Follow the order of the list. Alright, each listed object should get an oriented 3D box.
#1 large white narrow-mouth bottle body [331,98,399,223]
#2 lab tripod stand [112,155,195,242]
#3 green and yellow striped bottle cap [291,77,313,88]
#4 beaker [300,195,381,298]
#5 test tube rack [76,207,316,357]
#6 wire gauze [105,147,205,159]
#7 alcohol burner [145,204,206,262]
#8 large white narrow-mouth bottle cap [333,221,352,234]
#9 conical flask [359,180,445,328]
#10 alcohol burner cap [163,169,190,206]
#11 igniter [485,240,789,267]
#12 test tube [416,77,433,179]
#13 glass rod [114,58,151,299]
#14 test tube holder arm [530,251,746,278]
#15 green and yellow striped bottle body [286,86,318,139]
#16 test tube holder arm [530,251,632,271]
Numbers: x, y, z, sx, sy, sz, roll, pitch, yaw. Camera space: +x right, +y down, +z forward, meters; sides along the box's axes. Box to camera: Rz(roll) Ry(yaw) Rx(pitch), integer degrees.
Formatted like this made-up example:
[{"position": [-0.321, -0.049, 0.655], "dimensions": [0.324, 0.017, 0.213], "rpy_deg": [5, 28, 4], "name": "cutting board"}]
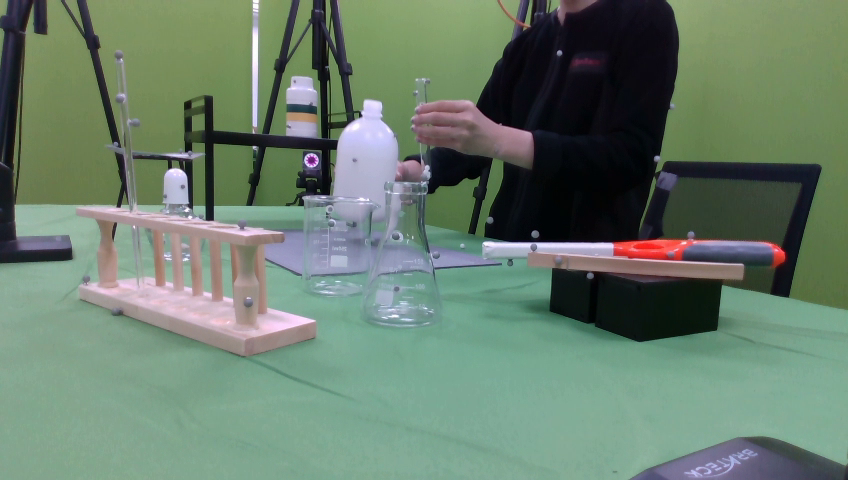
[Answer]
[{"position": [-0.094, -0.133, 0.997], "dimensions": [0.102, 0.194, 0.101], "rpy_deg": [9, 18, -3], "name": "large white narrow-mouth bottle body"}, {"position": [-0.405, -0.064, 0.931], "dimensions": [0.148, 0.131, 0.148], "rpy_deg": [1, 7, 0], "name": "lab tripod stand"}, {"position": [-0.250, -0.321, 1.238], "dimensions": [0.045, 0.020, 0.045], "rpy_deg": [3, 6, 0], "name": "green and yellow striped bottle cap"}, {"position": [-0.087, 0.006, 0.626], "dimensions": [0.084, 0.100, 0.074], "rpy_deg": [1, 8, -17], "name": "beaker"}, {"position": [-0.196, 0.023, 0.500], "dimensions": [0.241, 0.085, 0.067], "rpy_deg": [8, 9, 36], "name": "test tube rack"}, {"position": [-0.407, -0.131, 0.928], "dimensions": [0.125, 0.011, 0.121], "rpy_deg": [2, 6, -11], "name": "wire gauze"}, {"position": [-0.321, -0.032, 0.788], "dimensions": [0.078, 0.119, 0.078], "rpy_deg": [0, 7, 0], "name": "alcohol burner"}, {"position": [-0.153, -0.024, 1.134], "dimensions": [0.038, 0.024, 0.037], "rpy_deg": [4, 7, 0], "name": "large white narrow-mouth bottle cap"}, {"position": [-0.017, 0.010, 0.522], "dimensions": [0.075, 0.122, 0.075], "rpy_deg": [2, 7, 0], "name": "conical flask"}, {"position": [-0.321, -0.068, 0.782], "dimensions": [0.034, 0.048, 0.034], "rpy_deg": [1, 7, 0], "name": "alcohol burner cap"}, {"position": [0.197, 0.012, 0.585], "dimensions": [0.276, 0.025, 0.057], "rpy_deg": [1, 5, 12], "name": "igniter"}, {"position": [0.001, -0.165, 0.899], "dimensions": [0.017, 0.150, 0.017], "rpy_deg": [-4, 15, 1], "name": "test tube"}, {"position": [-0.236, -0.044, 0.491], "dimensions": [0.008, 0.199, 0.008], "rpy_deg": [0, 15, 0], "name": "glass rod"}, {"position": [0.182, 0.022, 0.523], "dimensions": [0.178, 0.015, 0.013], "rpy_deg": [3, 6, 12], "name": "test tube holder arm"}, {"position": [-0.251, -0.270, 1.245], "dimensions": [0.063, 0.119, 0.063], "rpy_deg": [2, 7, 0], "name": "green and yellow striped bottle body"}, {"position": [0.139, 0.019, 0.538], "dimensions": [0.087, 0.015, 0.010], "rpy_deg": [3, 6, 13], "name": "test tube holder arm"}]
